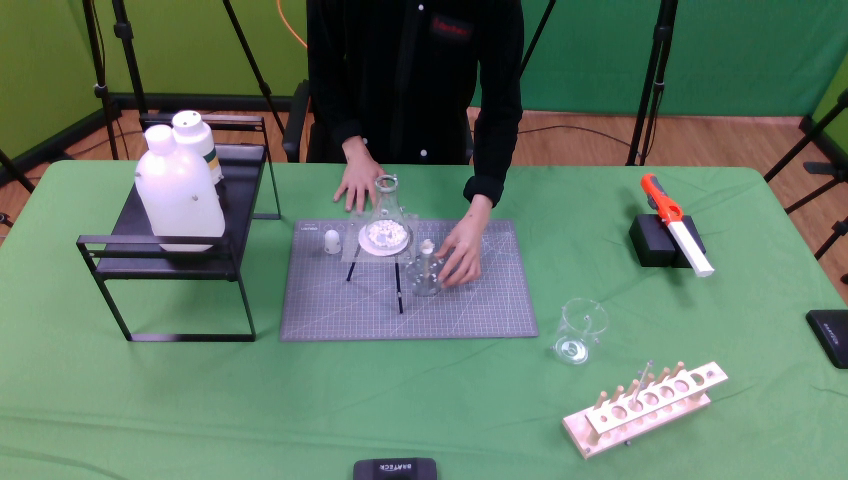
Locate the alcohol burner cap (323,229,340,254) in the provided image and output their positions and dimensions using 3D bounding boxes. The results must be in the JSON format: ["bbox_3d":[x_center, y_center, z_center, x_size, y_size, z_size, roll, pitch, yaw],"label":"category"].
[{"bbox_3d":[-0.179,0.001,1.165,0.034,0.048,0.033,2,45,-2],"label":"alcohol burner cap"}]

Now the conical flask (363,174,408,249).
[{"bbox_3d":[-0.063,-0.049,0.985,0.075,0.122,0.075,2,46,-1],"label":"conical flask"}]

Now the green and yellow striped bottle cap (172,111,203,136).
[{"bbox_3d":[-0.374,-0.185,0.958,0.045,0.020,0.045,4,46,-4],"label":"green and yellow striped bottle cap"}]

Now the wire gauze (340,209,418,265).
[{"bbox_3d":[-0.074,-0.006,1.024,0.121,0.011,0.124,2,48,1],"label":"wire gauze"}]

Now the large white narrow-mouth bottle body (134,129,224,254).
[{"bbox_3d":[-0.358,-0.075,0.875,0.102,0.195,0.101,2,48,-1],"label":"large white narrow-mouth bottle body"}]

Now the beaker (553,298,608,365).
[{"bbox_3d":[0.260,0.154,1.015,0.073,0.101,0.084,37,54,27],"label":"beaker"}]

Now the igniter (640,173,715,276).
[{"bbox_3d":[0.495,-0.039,1.204,0.057,0.025,0.274,-2,47,-12],"label":"igniter"}]

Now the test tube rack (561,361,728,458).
[{"bbox_3d":[0.341,0.248,0.940,0.243,0.085,0.066,-15,49,-18],"label":"test tube rack"}]

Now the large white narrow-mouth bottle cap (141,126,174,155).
[{"bbox_3d":[-0.356,-0.133,0.811,0.038,0.024,0.037,2,48,-2],"label":"large white narrow-mouth bottle cap"}]

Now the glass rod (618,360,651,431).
[{"bbox_3d":[0.298,0.227,0.865,0.008,0.201,0.008,-2,47,2],"label":"glass rod"}]

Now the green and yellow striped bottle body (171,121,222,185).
[{"bbox_3d":[-0.375,-0.149,0.995,0.063,0.120,0.063,2,46,-2],"label":"green and yellow striped bottle body"}]

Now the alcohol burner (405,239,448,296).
[{"bbox_3d":[0.004,0.044,1.088,0.078,0.120,0.077,1,46,-1],"label":"alcohol burner"}]

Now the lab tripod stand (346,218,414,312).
[{"bbox_3d":[-0.070,0.037,1.075,0.148,0.132,0.147,1,48,-1],"label":"lab tripod stand"}]
